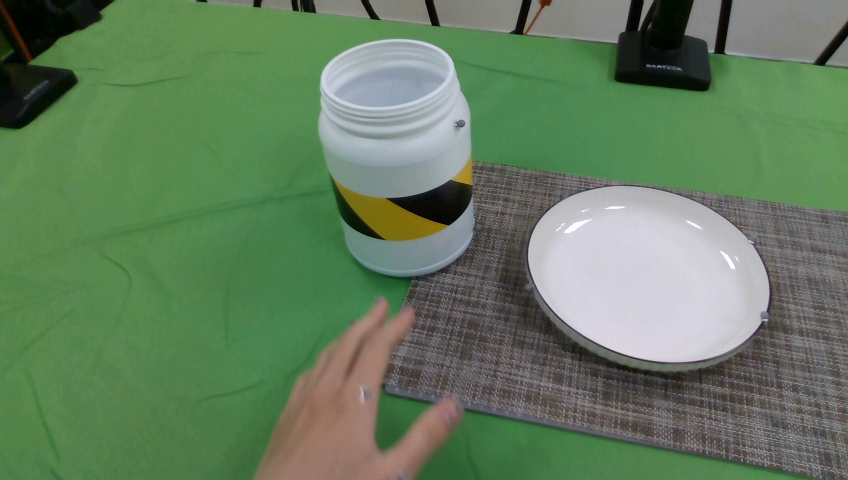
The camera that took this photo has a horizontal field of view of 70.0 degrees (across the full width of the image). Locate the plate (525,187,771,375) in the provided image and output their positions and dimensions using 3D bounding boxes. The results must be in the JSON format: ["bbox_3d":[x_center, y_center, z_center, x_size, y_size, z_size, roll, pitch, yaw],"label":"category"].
[{"bbox_3d":[0.194,0.034,0.543,0.208,0.039,0.205,-1,46,1],"label":"plate"}]

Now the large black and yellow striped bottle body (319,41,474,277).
[{"bbox_3d":[-0.021,-0.070,0.549,0.131,0.186,0.129,-3,46,3],"label":"large black and yellow striped bottle body"}]
